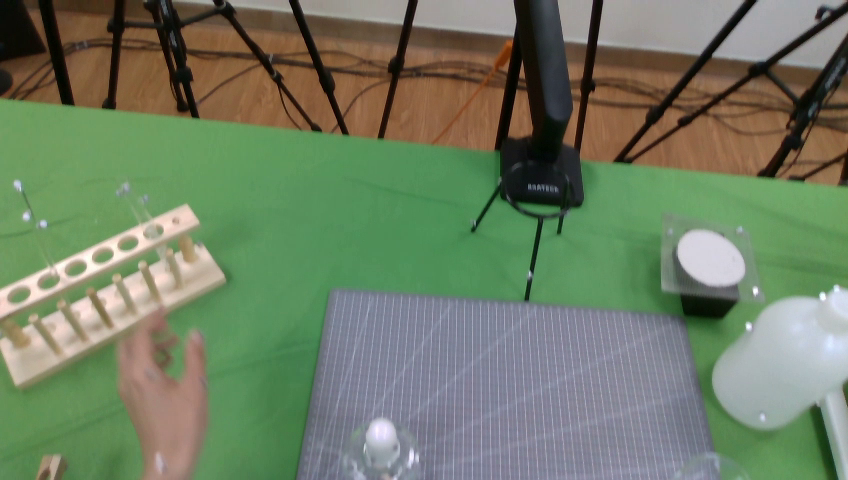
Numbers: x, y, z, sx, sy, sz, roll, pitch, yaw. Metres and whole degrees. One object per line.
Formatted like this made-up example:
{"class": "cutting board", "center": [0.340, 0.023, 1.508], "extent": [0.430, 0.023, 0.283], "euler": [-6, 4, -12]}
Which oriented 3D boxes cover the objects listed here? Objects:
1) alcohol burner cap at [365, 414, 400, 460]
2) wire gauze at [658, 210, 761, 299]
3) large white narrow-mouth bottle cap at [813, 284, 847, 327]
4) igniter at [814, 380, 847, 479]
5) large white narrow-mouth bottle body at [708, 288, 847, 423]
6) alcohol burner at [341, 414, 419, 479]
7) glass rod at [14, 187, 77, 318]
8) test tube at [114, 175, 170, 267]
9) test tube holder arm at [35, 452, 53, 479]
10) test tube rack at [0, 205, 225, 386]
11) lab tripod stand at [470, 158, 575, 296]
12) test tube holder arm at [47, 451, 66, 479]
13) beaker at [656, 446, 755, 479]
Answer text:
{"class": "alcohol burner cap", "center": [-0.040, 0.180, 0.560], "extent": [0.034, 0.048, 0.033], "euler": [-1, 52, 1]}
{"class": "wire gauze", "center": [0.359, 0.018, 0.771], "extent": [0.121, 0.011, 0.124], "euler": [11, 53, 3]}
{"class": "large white narrow-mouth bottle cap", "center": [0.395, 0.062, 0.578], "extent": [0.038, 0.024, 0.037], "euler": [3, 53, -3]}
{"class": "igniter", "center": [0.458, 0.266, 0.644], "extent": [0.057, 0.025, 0.274], "euler": [15, 53, -6]}
{"class": "large white narrow-mouth bottle body", "center": [0.390, 0.115, 0.646], "extent": [0.102, 0.196, 0.101], "euler": [2, 53, -3]}
{"class": "alcohol burner", "center": [-0.042, 0.202, 0.590], "extent": [0.078, 0.120, 0.077], "euler": [4, 52, -4]}
{"class": "glass rod", "center": [-0.391, 0.022, 0.631], "extent": [0.008, 0.201, 0.008], "euler": [6, 45, -5]}
{"class": "test tube", "center": [-0.313, -0.017, 0.687], "extent": [0.017, 0.151, 0.017], "euler": [0, 52, 1]}
{"class": "test tube holder arm", "center": [-0.345, 0.234, 0.539], "extent": [0.010, 0.015, 0.087], "euler": [-1, 57, 1]}
{"class": "test tube rack", "center": [-0.360, 0.059, 0.688], "extent": [0.242, 0.086, 0.066], "euler": [-30, 61, -24]}
{"class": "lab tripod stand", "center": [0.132, -0.023, 0.765], "extent": [0.148, 0.132, 0.147], "euler": [3, 54, -4]}
{"class": "test tube holder arm", "center": [-0.339, 0.272, 0.515], "extent": [0.013, 0.015, 0.176], "euler": [-2, 57, 0]}
{"class": "beaker", "center": [0.260, 0.253, 0.588], "extent": [0.084, 0.101, 0.073], "euler": [9, 53, 3]}
